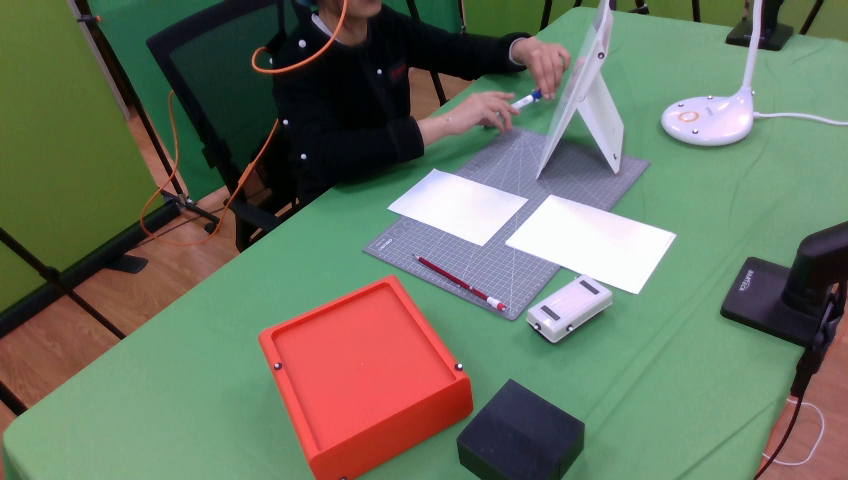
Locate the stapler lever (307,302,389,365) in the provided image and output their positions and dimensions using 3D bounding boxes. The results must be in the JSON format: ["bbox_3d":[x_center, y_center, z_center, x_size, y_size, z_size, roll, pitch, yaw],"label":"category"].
[{"bbox_3d":[-0.101,0.121,0.799,0.118,0.040,0.026,-25,29,-17],"label":"stapler lever"}]

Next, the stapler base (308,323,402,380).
[{"bbox_3d":[-0.094,0.142,0.812,0.131,0.024,0.041,-25,29,-17],"label":"stapler base"}]

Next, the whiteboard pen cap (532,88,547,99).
[{"bbox_3d":[0.236,-0.301,1.245,0.033,0.018,0.018,-21,42,-16],"label":"whiteboard pen cap"}]

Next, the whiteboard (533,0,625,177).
[{"bbox_3d":[0.321,-0.258,1.049,0.144,0.306,0.217,20,45,4],"label":"whiteboard"}]

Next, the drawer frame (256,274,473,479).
[{"bbox_3d":[-0.078,0.163,0.756,0.202,0.083,0.211,-23,43,-17],"label":"drawer frame"}]

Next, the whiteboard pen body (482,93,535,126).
[{"bbox_3d":[0.184,-0.274,1.244,0.141,0.017,0.017,-28,42,0],"label":"whiteboard pen body"}]

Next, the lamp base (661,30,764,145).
[{"bbox_3d":[0.535,-0.287,1.096,0.179,0.181,0.159,-10,40,-4],"label":"lamp base"}]

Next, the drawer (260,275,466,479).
[{"bbox_3d":[-0.080,0.162,0.760,0.195,0.073,0.210,-22,42,-16],"label":"drawer"}]

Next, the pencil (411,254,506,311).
[{"bbox_3d":[0.047,0.060,0.906,0.012,0.012,0.192,-37,46,-29],"label":"pencil"}]

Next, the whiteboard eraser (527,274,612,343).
[{"bbox_3d":[0.198,0.094,0.820,0.113,0.042,0.055,-29,43,-22],"label":"whiteboard eraser"}]
